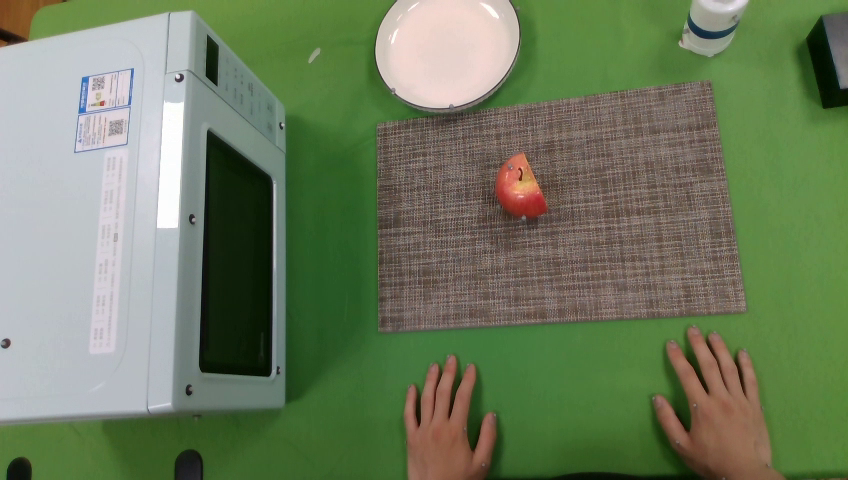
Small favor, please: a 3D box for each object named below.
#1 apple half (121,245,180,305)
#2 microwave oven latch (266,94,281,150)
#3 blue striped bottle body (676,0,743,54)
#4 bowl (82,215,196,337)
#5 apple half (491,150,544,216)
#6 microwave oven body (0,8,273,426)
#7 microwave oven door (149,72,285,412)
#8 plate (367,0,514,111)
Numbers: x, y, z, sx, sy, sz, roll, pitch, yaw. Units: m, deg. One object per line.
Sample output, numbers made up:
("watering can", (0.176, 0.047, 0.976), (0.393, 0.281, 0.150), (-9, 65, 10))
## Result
("apple half", (-0.354, 0.046, 0.774), (0.081, 0.033, 0.081), (0, 89, 5))
("microwave oven latch", (-0.223, -0.168, 0.868), (0.030, 0.030, 0.078), (-6, 76, 10))
("blue striped bottle body", (0.353, -0.287, 0.745), (0.063, 0.121, 0.063), (-3, 75, 12))
("bowl", (-0.352, 0.048, 0.784), (0.151, 0.077, 0.151), (-1, 86, 17))
("apple half", (0.113, -0.065, 0.766), (0.053, 0.075, 0.080), (-25, 76, 10))
("microwave oven body", (-0.378, -0.004, 0.761), (0.325, 0.262, 0.439), (-6, 76, 10))
("microwave oven door", (-0.234, 0.019, 0.719), (0.039, 0.245, 0.354), (-7, 75, 11))
("plate", (0.024, -0.275, 0.859), (0.207, 0.039, 0.206), (-3, 76, 11))
